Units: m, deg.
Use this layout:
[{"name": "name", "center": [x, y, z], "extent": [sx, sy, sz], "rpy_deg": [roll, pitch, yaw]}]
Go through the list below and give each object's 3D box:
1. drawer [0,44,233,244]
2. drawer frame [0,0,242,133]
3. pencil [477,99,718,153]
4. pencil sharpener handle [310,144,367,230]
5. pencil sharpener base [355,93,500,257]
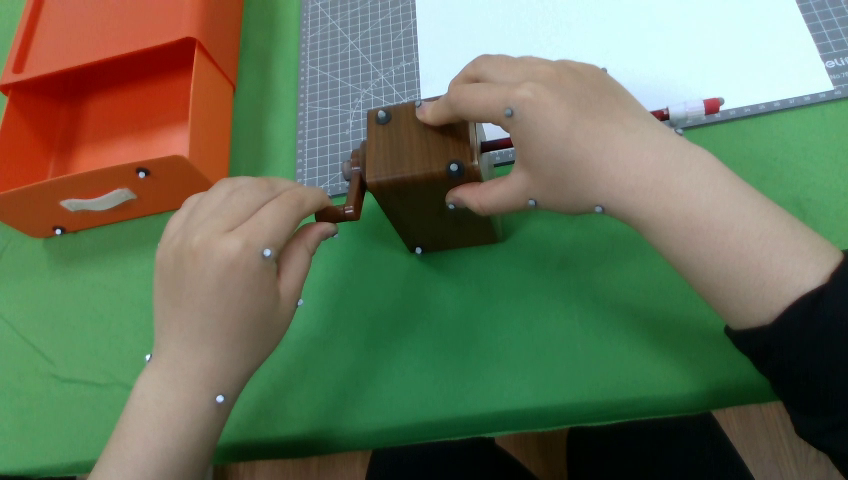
[{"name": "drawer", "center": [-0.274, -0.115, 0.544], "extent": [0.194, 0.074, 0.210], "rpy_deg": [-11, 62, 11]}, {"name": "drawer frame", "center": [-0.285, -0.220, 0.594], "extent": [0.201, 0.083, 0.211], "rpy_deg": [-11, 62, 10]}, {"name": "pencil", "center": [0.077, -0.064, 0.370], "extent": [0.194, 0.012, 0.012], "rpy_deg": [-8, 63, 10]}, {"name": "pencil sharpener handle", "center": [-0.052, -0.032, 0.388], "extent": [0.030, 0.036, 0.067], "rpy_deg": [-9, 42, 12]}, {"name": "pencil sharpener base", "center": [0.005, -0.038, 0.413], "extent": [0.076, 0.108, 0.061], "rpy_deg": [-9, 63, 12]}]
